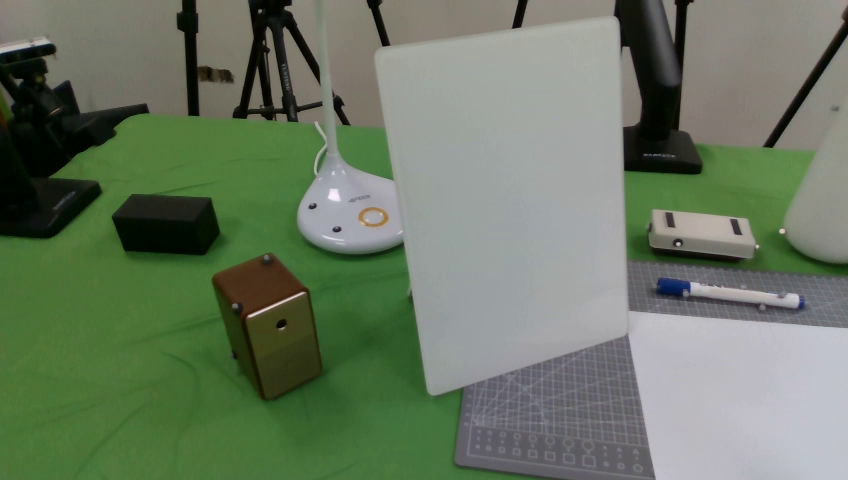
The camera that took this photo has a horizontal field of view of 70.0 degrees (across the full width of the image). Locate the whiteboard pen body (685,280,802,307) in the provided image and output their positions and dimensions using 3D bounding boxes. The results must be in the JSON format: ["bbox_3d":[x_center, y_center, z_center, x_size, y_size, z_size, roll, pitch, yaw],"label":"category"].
[{"bbox_3d":[0.325,0.055,0.645,0.140,0.017,0.017,6,37,10],"label":"whiteboard pen body"}]

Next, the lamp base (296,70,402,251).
[{"bbox_3d":[-0.091,-0.104,0.734,0.161,0.182,0.177,-26,41,-31],"label":"lamp base"}]

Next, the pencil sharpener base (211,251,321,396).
[{"bbox_3d":[-0.143,0.075,0.552,0.061,0.108,0.076,-25,42,-28],"label":"pencil sharpener base"}]

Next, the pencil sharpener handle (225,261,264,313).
[{"bbox_3d":[-0.172,0.041,0.578,0.036,0.068,0.030,-31,45,-23],"label":"pencil sharpener handle"}]

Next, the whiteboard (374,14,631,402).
[{"bbox_3d":[0.063,-0.040,0.586,0.218,0.307,0.142,-13,19,-16],"label":"whiteboard"}]

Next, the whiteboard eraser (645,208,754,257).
[{"bbox_3d":[0.321,-0.007,0.713,0.112,0.042,0.055,5,34,10],"label":"whiteboard eraser"}]

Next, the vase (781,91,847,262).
[{"bbox_3d":[0.475,-0.074,0.668,0.098,0.201,0.097,0,37,0],"label":"vase"}]

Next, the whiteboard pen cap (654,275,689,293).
[{"bbox_3d":[0.267,0.049,0.654,0.033,0.018,0.018,9,37,8],"label":"whiteboard pen cap"}]

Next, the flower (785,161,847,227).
[{"bbox_3d":[0.482,-0.131,0.607,0.044,0.364,0.038,-9,54,-22],"label":"flower"}]
